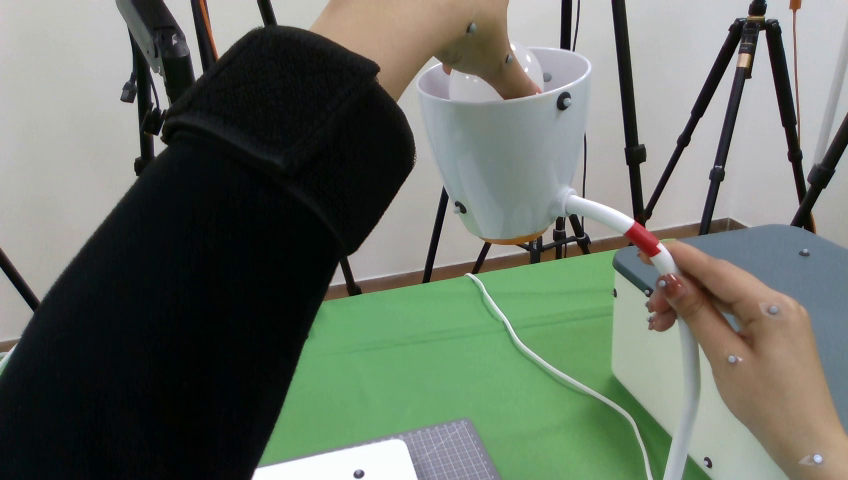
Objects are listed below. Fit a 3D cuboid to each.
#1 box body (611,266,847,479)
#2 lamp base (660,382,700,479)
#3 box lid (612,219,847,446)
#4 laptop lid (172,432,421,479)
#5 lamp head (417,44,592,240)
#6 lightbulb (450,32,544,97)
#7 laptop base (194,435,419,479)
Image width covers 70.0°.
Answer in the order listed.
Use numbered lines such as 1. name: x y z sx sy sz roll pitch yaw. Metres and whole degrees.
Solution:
1. box body: 0.381 0.135 0.596 0.255 0.161 0.360 -9 26 -15
2. lamp base: 0.169 0.204 0.440 0.160 0.181 0.179 9 25 20
3. box lid: 0.378 0.066 0.565 0.264 0.015 0.367 -8 26 -15
4. laptop lid: -0.160 0.272 0.487 0.357 0.013 0.239 -8 28 -11
5. lamp head: 0.061 -0.061 0.411 0.112 0.124 0.111 -10 28 6
6. lightbulb: 0.050 -0.081 0.398 0.059 0.109 0.059 -7 38 6
7. laptop base: -0.160 0.282 0.495 0.355 0.023 0.233 -8 29 -13
